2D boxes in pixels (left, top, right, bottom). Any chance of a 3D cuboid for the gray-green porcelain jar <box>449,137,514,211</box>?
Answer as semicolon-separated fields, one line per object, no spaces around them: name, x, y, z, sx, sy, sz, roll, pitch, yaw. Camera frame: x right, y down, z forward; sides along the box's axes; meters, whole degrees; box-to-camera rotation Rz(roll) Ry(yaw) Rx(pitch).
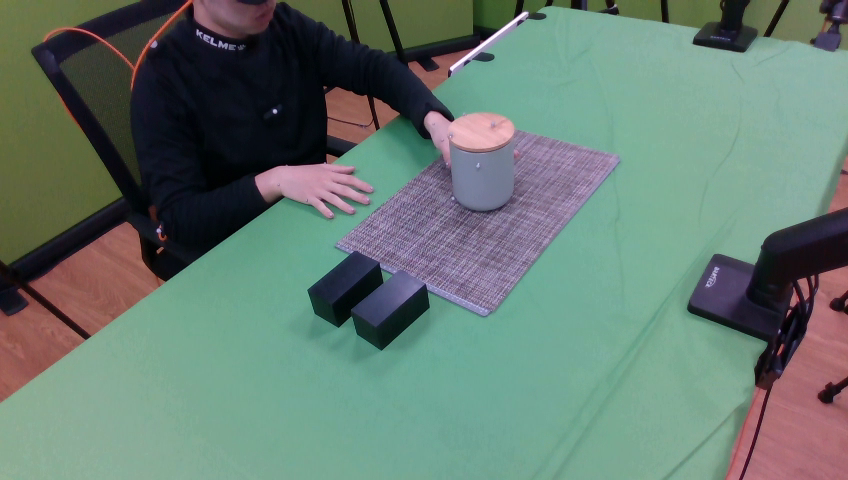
gray-green porcelain jar;0.097;-0.120;1.009;0.106;0.127;0.105;-4;41;4

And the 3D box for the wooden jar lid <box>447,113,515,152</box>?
wooden jar lid;0.091;-0.169;0.968;0.108;0.021;0.108;-4;42;4
